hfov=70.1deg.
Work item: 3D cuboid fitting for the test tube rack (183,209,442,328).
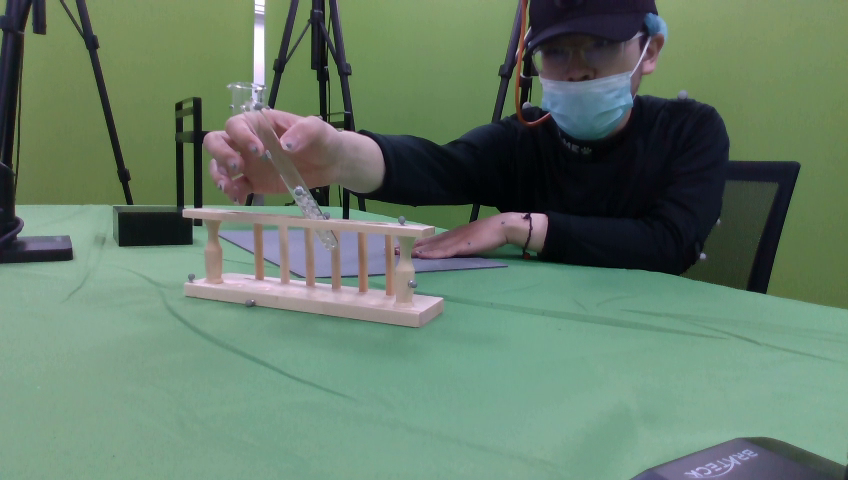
[{"bbox_3d":[-0.106,0.019,0.569,0.241,0.085,0.067,5,7,20],"label":"test tube rack"}]

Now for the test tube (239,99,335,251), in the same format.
[{"bbox_3d":[-0.117,-0.053,0.527,0.017,0.151,0.017,-22,23,10],"label":"test tube"}]

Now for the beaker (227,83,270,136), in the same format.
[{"bbox_3d":[-0.354,-0.262,1.224,0.084,0.100,0.073,-2,8,-28],"label":"beaker"}]
